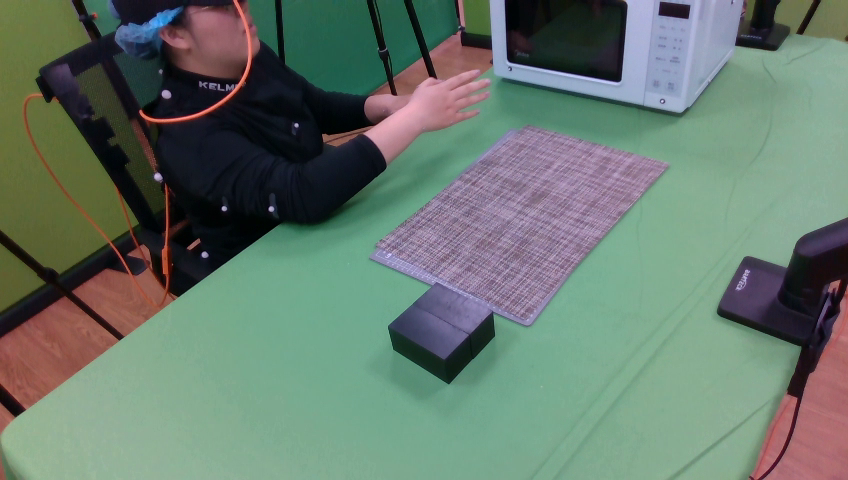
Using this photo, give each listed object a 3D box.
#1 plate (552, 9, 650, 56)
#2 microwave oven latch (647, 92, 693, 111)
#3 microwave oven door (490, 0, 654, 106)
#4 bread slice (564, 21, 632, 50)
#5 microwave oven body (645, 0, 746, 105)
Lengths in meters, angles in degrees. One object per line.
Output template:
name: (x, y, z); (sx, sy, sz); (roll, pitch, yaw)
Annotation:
plate: (0.390, -0.455, 1.339); (0.209, 0.038, 0.208); (-6, 39, 5)
microwave oven latch: (0.477, -0.273, 1.177); (0.078, 0.029, 0.030); (22, 50, 33)
microwave oven door: (0.293, -0.420, 1.228); (0.353, 0.245, 0.039); (22, 49, 32)
bread slice: (0.394, -0.454, 1.344); (0.105, 0.019, 0.130); (-35, 43, -26)
microwave oven body: (0.416, -0.486, 1.290); (0.438, 0.261, 0.327); (21, 50, 33)
